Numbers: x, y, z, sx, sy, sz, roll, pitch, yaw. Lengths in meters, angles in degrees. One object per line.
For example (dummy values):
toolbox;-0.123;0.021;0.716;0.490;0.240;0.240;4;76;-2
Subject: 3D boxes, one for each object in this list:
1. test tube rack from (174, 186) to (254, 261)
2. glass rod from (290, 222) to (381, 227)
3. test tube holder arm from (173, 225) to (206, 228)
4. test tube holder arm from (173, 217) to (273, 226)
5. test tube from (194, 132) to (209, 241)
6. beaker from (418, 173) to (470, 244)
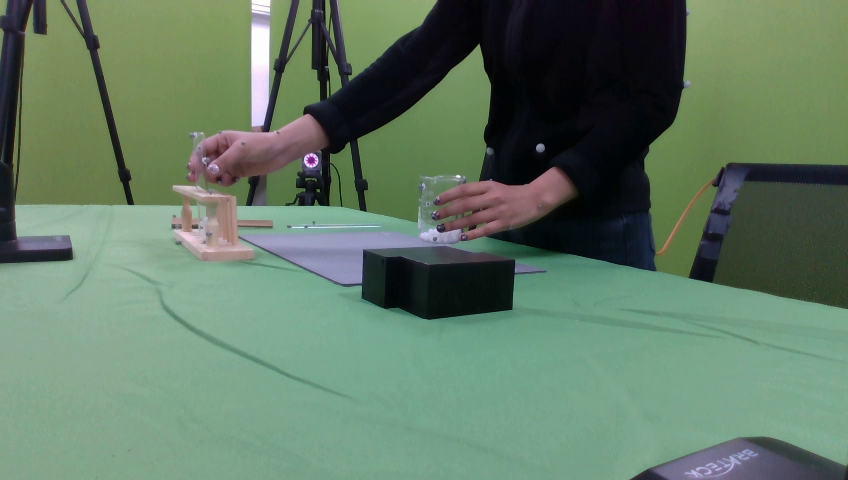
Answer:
test tube rack;-0.314;-0.031;0.889;0.067;0.085;0.241;-2;8;-30
glass rod;-0.178;-0.032;1.247;0.201;0.008;0.008;-2;8;-30
test tube holder arm;-0.415;-0.030;1.113;0.088;0.015;0.010;-1;-22;-25
test tube holder arm;-0.371;-0.033;1.127;0.179;0.015;0.013;-1;-22;-25
test tube;-0.307;-0.074;0.840;0.017;0.150;0.017;-2;4;0
beaker;0.026;-0.049;0.910;0.074;0.100;0.083;-3;12;-26
